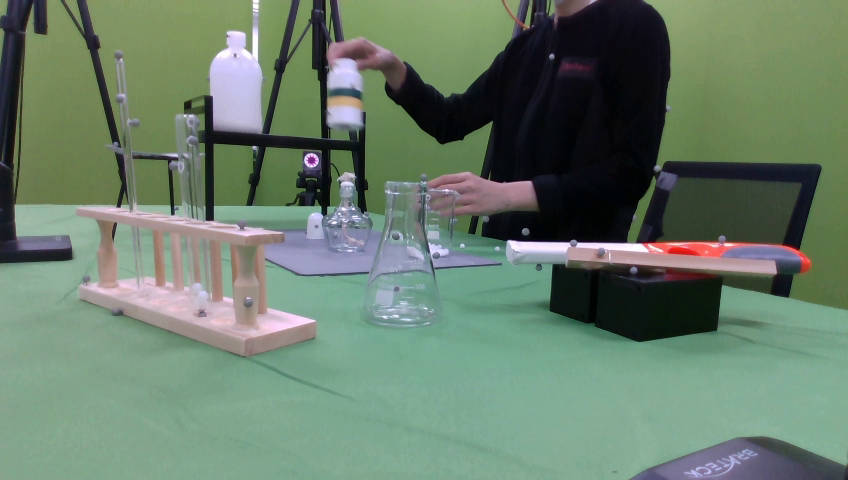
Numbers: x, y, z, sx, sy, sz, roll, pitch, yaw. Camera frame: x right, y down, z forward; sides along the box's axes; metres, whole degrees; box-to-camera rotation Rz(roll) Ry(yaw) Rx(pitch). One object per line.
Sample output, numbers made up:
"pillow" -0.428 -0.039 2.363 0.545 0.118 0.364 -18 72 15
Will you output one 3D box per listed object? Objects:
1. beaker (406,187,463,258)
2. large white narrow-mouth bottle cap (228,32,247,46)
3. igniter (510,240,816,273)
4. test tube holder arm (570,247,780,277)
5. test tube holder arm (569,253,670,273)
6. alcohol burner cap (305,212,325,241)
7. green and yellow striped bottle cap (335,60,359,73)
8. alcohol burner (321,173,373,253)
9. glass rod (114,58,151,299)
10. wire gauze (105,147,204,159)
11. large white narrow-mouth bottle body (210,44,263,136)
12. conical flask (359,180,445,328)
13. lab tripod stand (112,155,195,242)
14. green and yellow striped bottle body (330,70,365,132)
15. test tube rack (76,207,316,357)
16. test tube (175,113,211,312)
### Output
"beaker" 0.013 -0.026 0.892 0.084 0.100 0.074 3 8 -2
"large white narrow-mouth bottle cap" -0.364 -0.391 1.180 0.038 0.024 0.037 3 8 0
"igniter" 0.220 0.015 0.565 0.277 0.025 0.057 2 16 0
"test tube holder arm" 0.217 0.019 0.525 0.178 0.015 0.013 3 -23 3
"test tube holder arm" 0.172 0.019 0.532 0.088 0.015 0.010 3 -23 3
"alcohol burner cap" -0.185 -0.023 1.027 0.034 0.048 0.034 2 7 0
"green and yellow striped bottle cap" -0.141 -0.314 1.110 0.045 0.020 0.045 1 -3 0
"alcohol burner" -0.115 -0.041 0.905 0.078 0.119 0.078 1 6 0
"glass rod" -0.236 -0.044 0.492 0.008 0.199 0.008 0 15 0
"wire gauze" -0.408 -0.131 0.929 0.125 0.011 0.121 2 6 -11
"large white narrow-mouth bottle body" -0.369 -0.305 1.194 0.102 0.194 0.102 3 8 0
"conical flask" -0.017 0.010 0.522 0.075 0.122 0.075 2 7 0
"lab tripod stand" -0.405 -0.064 0.931 0.148 0.131 0.148 1 6 0
"green and yellow striped bottle body" -0.140 -0.262 1.109 0.063 0.119 0.063 0 -2 0
"test tube rack" -0.196 0.023 0.499 0.241 0.085 0.067 8 9 36
"test tube" -0.174 -0.020 0.458 0.017 0.150 0.017 -3 5 1
